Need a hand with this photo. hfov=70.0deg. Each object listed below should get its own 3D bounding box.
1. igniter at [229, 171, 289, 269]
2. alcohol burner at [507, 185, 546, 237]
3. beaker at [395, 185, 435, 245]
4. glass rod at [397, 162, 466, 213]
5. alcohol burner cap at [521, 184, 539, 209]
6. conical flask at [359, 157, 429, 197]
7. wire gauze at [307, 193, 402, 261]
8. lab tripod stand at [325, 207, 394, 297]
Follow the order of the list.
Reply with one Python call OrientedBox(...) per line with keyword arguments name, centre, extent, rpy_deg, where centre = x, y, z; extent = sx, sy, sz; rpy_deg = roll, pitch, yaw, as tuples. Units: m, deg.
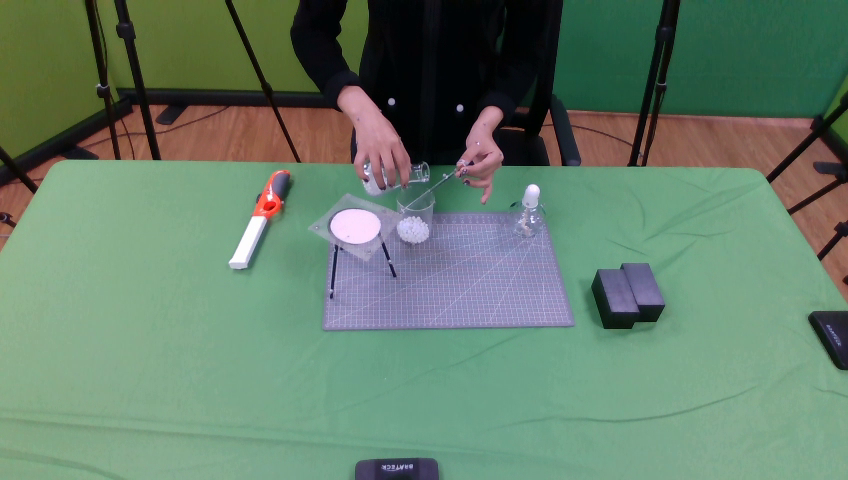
OrientedBox(name="igniter", centre=(-0.328, -0.049, 1.218), extent=(0.057, 0.025, 0.275), rpy_deg=(0, 45, 10))
OrientedBox(name="alcohol burner", centre=(0.208, -0.063, 1.210), extent=(0.078, 0.119, 0.077), rpy_deg=(3, 44, -3))
OrientedBox(name="beaker", centre=(-0.022, -0.048, 1.187), extent=(0.074, 0.101, 0.083), rpy_deg=(-28, 53, -28))
OrientedBox(name="glass rod", centre=(0.010, -0.094, 1.118), extent=(0.008, 0.200, 0.008), rpy_deg=(22, 53, -33))
OrientedBox(name="alcohol burner cap", centre=(0.210, -0.087, 1.183), extent=(0.034, 0.048, 0.033), rpy_deg=(1, 52, -1))
OrientedBox(name="conical flask", centre=(-0.053, -0.121, 1.118), extent=(0.121, 0.076, 0.075), rpy_deg=(-3, 42, 24))
OrientedBox(name="wire gauze", centre=(-0.119, -0.028, 1.043), extent=(0.125, 0.011, 0.121), rpy_deg=(24, 47, 17))
OrientedBox(name="lab tripod stand", centre=(-0.124, 0.017, 1.092), extent=(0.148, 0.132, 0.147), rpy_deg=(3, 44, -3))
